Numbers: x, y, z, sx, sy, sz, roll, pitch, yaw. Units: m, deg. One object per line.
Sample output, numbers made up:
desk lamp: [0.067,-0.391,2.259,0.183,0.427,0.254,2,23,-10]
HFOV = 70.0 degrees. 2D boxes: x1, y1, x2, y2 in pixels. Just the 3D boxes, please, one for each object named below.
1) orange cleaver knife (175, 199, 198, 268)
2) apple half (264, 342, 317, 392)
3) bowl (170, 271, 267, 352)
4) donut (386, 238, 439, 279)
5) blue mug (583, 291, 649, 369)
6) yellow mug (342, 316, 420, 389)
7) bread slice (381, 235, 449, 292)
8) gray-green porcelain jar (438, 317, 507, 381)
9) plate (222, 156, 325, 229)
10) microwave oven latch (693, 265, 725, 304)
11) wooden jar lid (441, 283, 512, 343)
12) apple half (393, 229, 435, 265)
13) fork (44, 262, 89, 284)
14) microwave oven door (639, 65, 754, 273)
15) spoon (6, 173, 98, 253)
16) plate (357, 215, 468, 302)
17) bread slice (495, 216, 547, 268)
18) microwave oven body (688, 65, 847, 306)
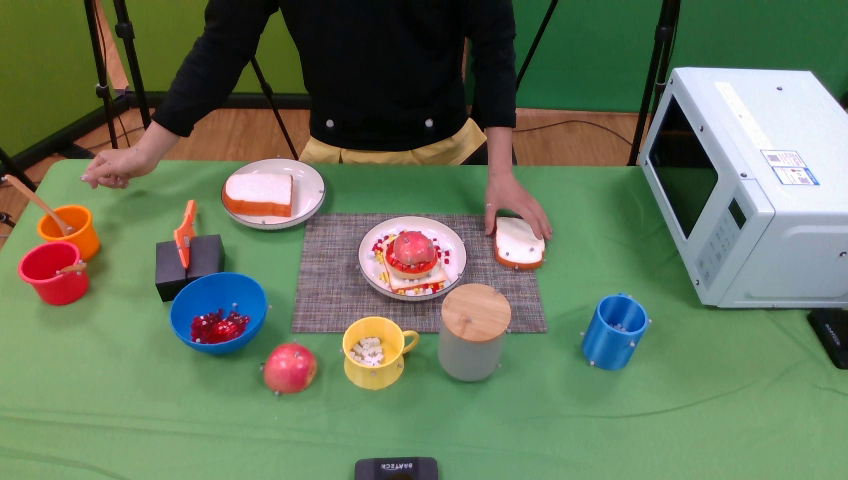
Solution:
orange cleaver knife: [-0.438,-0.017,1.138,0.012,0.077,0.210,-14,27,-7]
apple half: [-0.214,0.198,0.970,0.074,0.053,0.080,19,48,10]
bowl: [-0.333,0.132,1.006,0.151,0.077,0.150,2,46,-2]
donut: [-0.021,0.029,1.110,0.099,0.048,0.098,3,47,-2]
blue mug: [0.324,0.142,1.023,0.082,0.106,0.116,15,47,11]
yellow mug: [-0.067,0.178,0.990,0.131,0.064,0.099,-16,50,-19]
bread slice: [-0.027,0.039,1.139,0.107,0.018,0.133,-12,47,-16]
gray-green porcelain jar: [0.076,0.158,0.977,0.106,0.127,0.105,2,47,-2]
plate: [-0.308,-0.095,1.251,0.209,0.038,0.208,2,47,-2]
microwave oven latch: [0.522,0.081,1.115,0.030,0.029,0.078,2,46,-1]
wooden jar lid: [0.080,0.114,0.931,0.108,0.021,0.107,1,49,-1]
apple half: [-0.018,0.005,1.083,0.081,0.033,0.081,6,49,-7]
fork: [-0.598,0.054,1.014,0.207,0.019,0.028,-15,29,45]
microwave oven door: [0.522,-0.147,1.193,0.039,0.245,0.353,0,47,-3]
spoon: [-0.678,-0.050,1.106,0.021,0.194,0.041,-19,27,43]
plate: [-0.022,0.037,1.141,0.208,0.039,0.206,2,46,-2]
bread slice: [0.194,0.002,1.204,0.105,0.019,0.131,6,46,3]
microwave oven body: [0.669,-0.111,1.176,0.326,0.261,0.439,0,46,-3]
